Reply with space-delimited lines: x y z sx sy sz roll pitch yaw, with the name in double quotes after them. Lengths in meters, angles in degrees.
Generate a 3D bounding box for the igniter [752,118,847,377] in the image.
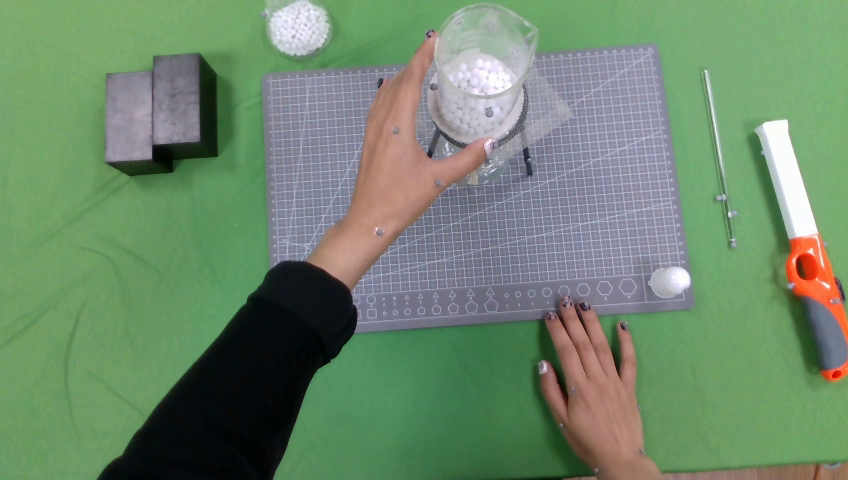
0.401 0.004 0.641 0.057 0.025 0.275 -9 81 -11 "igniter"

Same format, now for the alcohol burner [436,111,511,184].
0.051 -0.100 0.617 0.078 0.119 0.077 0 79 0 "alcohol burner"

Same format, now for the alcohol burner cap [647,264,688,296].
0.255 0.040 0.628 0.034 0.048 0.033 0 80 1 "alcohol burner cap"

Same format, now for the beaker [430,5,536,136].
0.046 -0.134 0.497 0.084 0.100 0.074 -25 82 -3 "beaker"

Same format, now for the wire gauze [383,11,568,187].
0.046 -0.127 0.545 0.125 0.011 0.121 -33 85 -5 "wire gauze"

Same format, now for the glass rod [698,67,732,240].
0.322 -0.098 0.669 0.008 0.008 0.199 -5 81 0 "glass rod"

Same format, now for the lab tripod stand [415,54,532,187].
0.048 -0.112 0.609 0.148 0.132 0.148 0 83 1 "lab tripod stand"

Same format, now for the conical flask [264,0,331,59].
-0.145 -0.252 0.642 0.075 0.122 0.075 0 80 1 "conical flask"
